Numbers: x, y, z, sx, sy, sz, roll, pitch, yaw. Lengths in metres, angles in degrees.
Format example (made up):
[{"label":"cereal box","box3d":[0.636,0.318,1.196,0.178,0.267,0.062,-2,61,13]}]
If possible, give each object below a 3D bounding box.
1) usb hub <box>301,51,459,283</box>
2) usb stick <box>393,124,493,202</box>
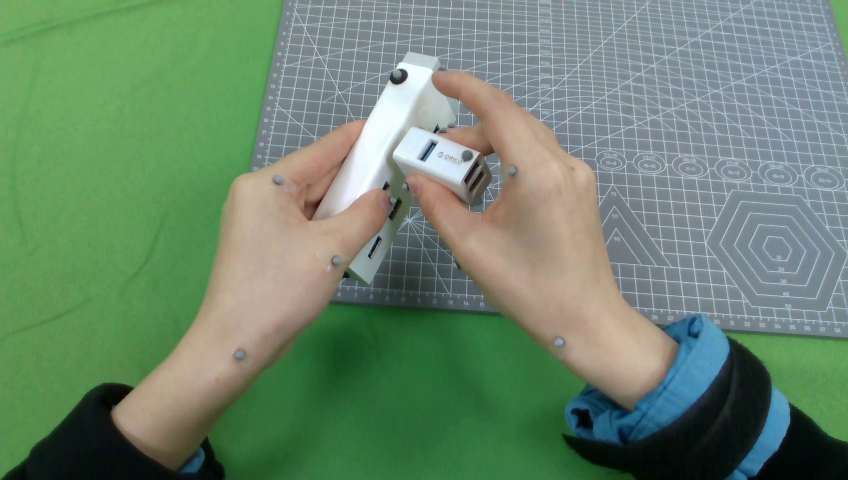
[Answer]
[{"label":"usb hub","box3d":[-0.021,-0.041,0.339,0.025,0.050,0.124,18,73,26]},{"label":"usb stick","box3d":[0.004,-0.042,0.312,0.058,0.027,0.021,26,82,31]}]
